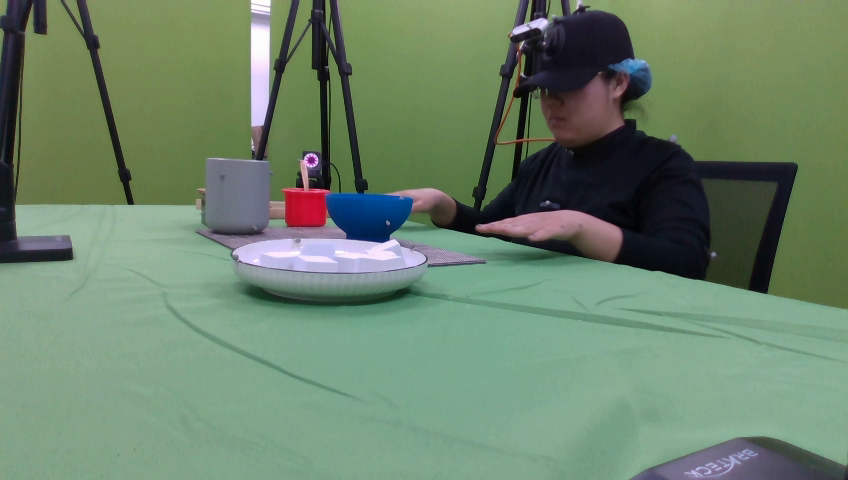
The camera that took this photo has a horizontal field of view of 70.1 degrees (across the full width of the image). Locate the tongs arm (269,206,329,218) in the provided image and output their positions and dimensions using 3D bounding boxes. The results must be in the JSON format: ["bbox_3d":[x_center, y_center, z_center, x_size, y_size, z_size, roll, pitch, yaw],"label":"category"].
[{"bbox_3d":[-0.294,-0.065,1.383,0.390,0.028,0.028,-3,7,-42],"label":"tongs arm"}]

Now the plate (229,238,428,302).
[{"bbox_3d":[-0.099,0.032,0.651,0.209,0.038,0.209,3,8,0],"label":"plate"}]

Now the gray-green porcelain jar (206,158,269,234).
[{"bbox_3d":[-0.323,-0.076,1.048,0.106,0.126,0.106,3,7,0],"label":"gray-green porcelain jar"}]

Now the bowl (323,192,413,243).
[{"bbox_3d":[-0.094,-0.037,1.015,0.151,0.077,0.151,3,7,0],"label":"bowl"}]

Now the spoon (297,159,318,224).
[{"bbox_3d":[-0.244,-0.103,1.251,0.042,0.021,0.193,1,51,-17],"label":"spoon"}]

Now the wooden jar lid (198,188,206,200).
[{"bbox_3d":[-0.382,-0.088,1.175,0.108,0.020,0.108,3,8,0],"label":"wooden jar lid"}]

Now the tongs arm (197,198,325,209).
[{"bbox_3d":[-0.337,-0.079,1.449,0.387,0.026,0.050,0,8,-29],"label":"tongs arm"}]
